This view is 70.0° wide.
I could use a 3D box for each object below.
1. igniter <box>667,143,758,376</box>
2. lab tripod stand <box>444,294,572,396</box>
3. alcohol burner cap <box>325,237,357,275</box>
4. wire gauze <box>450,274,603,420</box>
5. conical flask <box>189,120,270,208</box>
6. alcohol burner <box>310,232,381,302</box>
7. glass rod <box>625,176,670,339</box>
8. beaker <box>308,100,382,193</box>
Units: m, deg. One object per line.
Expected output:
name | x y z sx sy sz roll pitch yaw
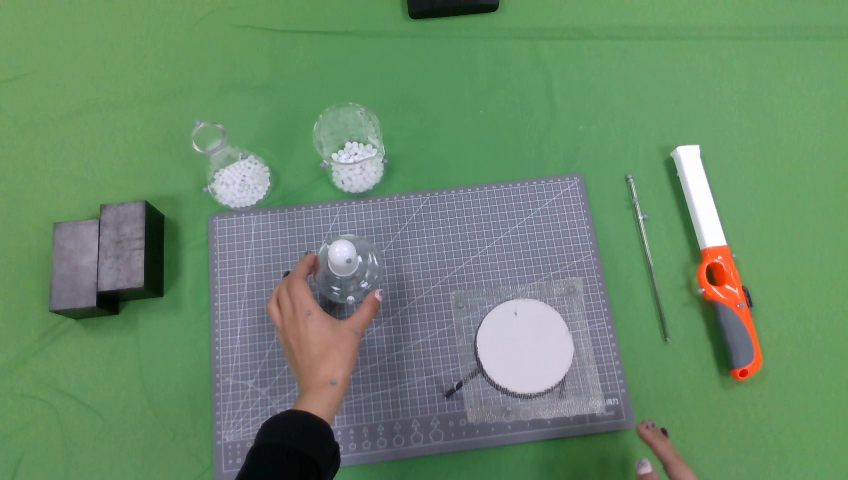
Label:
igniter | 0.331 0.016 0.698 0.057 0.025 0.275 -5 74 -13
lab tripod stand | 0.086 0.116 0.609 0.148 0.132 0.147 0 75 0
alcohol burner cap | -0.084 0.014 0.610 0.034 0.048 0.033 2 73 -6
wire gauze | 0.091 0.095 0.545 0.125 0.011 0.121 -6 75 -1
conical flask | -0.221 -0.088 0.674 0.075 0.122 0.075 0 73 -1
alcohol burner | -0.085 0.025 0.644 0.078 0.119 0.077 0 75 -1
glass rod | 0.260 0.016 0.707 0.008 0.008 0.198 -7 74 -3
beaker | -0.083 -0.101 0.691 0.084 0.101 0.074 28 76 7
